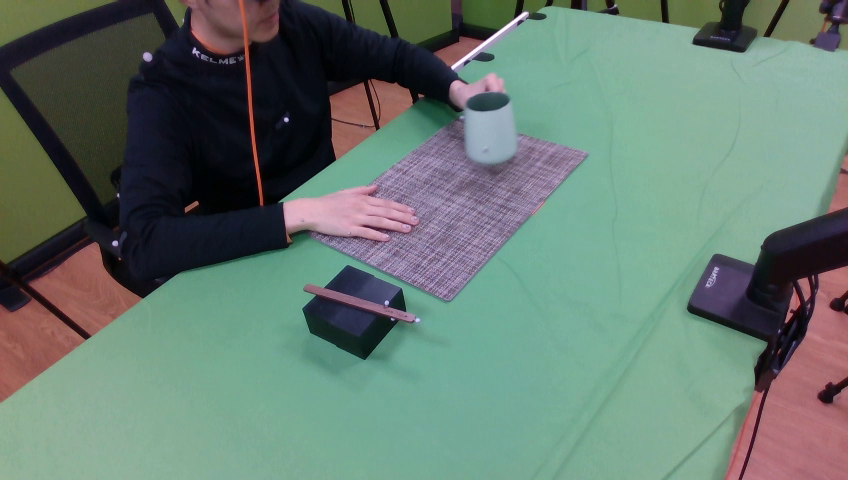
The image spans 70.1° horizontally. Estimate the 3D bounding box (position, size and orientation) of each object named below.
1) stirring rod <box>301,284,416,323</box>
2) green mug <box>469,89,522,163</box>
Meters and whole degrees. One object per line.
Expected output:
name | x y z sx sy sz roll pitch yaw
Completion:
stirring rod | -0.091 0.085 0.818 0.175 0.006 0.014 13 45 21
green mug | 0.121 -0.206 1.060 0.092 0.105 0.124 -8 38 4
